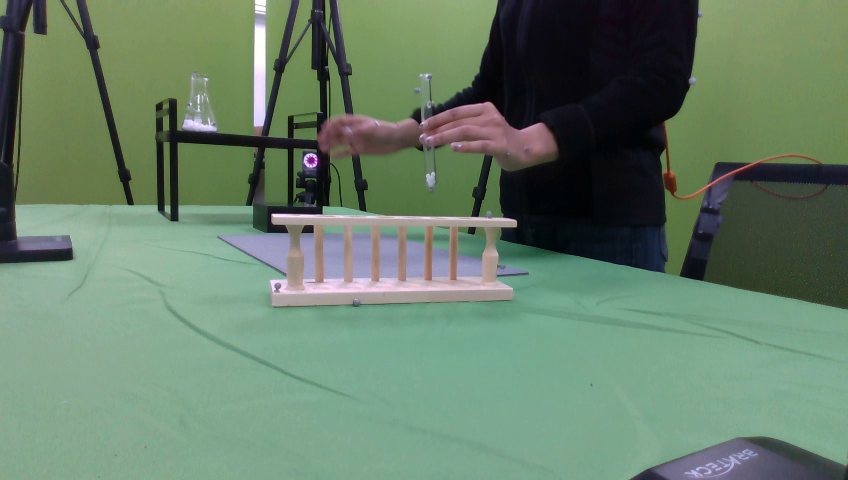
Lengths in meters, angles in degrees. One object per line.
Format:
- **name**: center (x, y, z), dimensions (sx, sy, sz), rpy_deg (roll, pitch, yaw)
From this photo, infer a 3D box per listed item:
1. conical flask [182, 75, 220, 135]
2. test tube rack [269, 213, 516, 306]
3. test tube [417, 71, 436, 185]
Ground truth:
- **conical flask**: center (-0.475, -0.287, 1.288), dimensions (0.075, 0.122, 0.075), rpy_deg (2, 7, 0)
- **test tube rack**: center (-0.032, 0.015, 0.617), dimensions (0.243, 0.085, 0.066), rpy_deg (0, 7, -17)
- **test tube**: center (0.004, -0.148, 0.807), dimensions (0.017, 0.150, 0.017), rpy_deg (-4, 9, 1)
